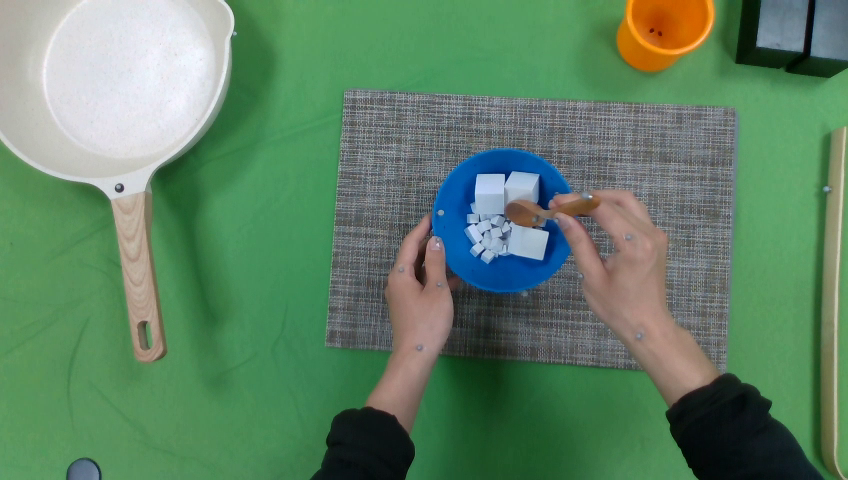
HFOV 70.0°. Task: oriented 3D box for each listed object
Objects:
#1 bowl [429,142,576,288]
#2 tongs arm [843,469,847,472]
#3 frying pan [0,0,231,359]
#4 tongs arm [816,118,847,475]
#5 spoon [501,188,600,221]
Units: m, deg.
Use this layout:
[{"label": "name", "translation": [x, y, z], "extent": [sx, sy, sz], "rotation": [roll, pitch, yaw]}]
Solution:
[{"label": "bowl", "translation": [0.082, -0.023, 0.655], "extent": [0.151, 0.077, 0.151], "rotation": [0, 87, 3]}, {"label": "tongs arm", "translation": [0.529, 0.074, 0.654], "extent": [0.050, 0.026, 0.384], "rotation": [15, 89, 5]}, {"label": "frying pan", "translation": [-0.336, -0.109, 0.671], "extent": [0.307, 0.103, 0.485], "rotation": [-13, 78, 3]}, {"label": "tongs arm", "translation": [0.450, 0.059, 0.664], "extent": [0.028, 0.028, 0.387], "rotation": [2, 87, 2]}, {"label": "spoon", "translation": [0.113, -0.031, 0.553], "extent": [0.042, 0.193, 0.021], "rotation": [33, 86, -9]}]
